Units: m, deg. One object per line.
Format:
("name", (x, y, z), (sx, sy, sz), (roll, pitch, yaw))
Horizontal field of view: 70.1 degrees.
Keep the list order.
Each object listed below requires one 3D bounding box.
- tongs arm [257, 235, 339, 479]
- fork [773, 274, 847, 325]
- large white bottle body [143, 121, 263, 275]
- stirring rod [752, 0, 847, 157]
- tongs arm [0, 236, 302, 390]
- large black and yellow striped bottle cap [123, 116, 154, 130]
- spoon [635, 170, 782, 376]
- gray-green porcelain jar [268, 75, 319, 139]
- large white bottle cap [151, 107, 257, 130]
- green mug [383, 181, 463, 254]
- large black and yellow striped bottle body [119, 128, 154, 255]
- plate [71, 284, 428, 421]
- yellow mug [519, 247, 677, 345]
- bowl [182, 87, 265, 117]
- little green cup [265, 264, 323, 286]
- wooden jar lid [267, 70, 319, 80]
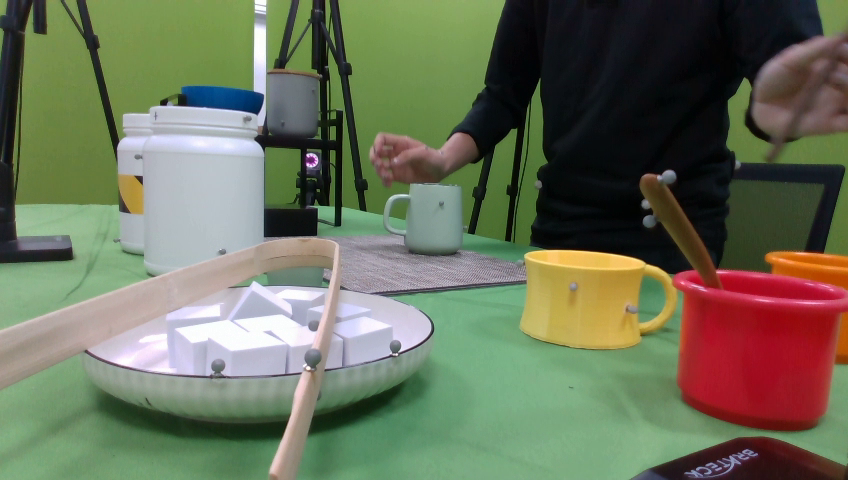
("tongs arm", (-0.074, 0.040, 0.345), (0.051, 0.026, 0.384), (-1, 9, -3))
("fork", (0.332, 0.018, 0.443), (0.028, 0.018, 0.207), (-1, -36, -14))
("large white bottle body", (-0.254, -0.054, 0.702), (0.131, 0.184, 0.130), (2, 8, 0))
("stirring rod", (0.314, -0.148, 0.490), (0.014, 0.176, 0.006), (22, 8, -42))
("tongs arm", (-0.157, 0.037, 0.347), (0.028, 0.028, 0.388), (-2, 8, 11))
("large black and yellow striped bottle cap", (-0.353, -0.159, 0.838), (0.115, 0.019, 0.115), (2, 6, 0))
("spoon", (0.161, 0.026, 0.346), (0.041, 0.021, 0.194), (9, -35, 53))
("gray-green porcelain jar", (-0.277, -0.279, 1.280), (0.106, 0.126, 0.106), (2, 8, 0))
("large white bottle cap", (-0.250, -0.138, 0.692), (0.115, 0.018, 0.115), (3, 7, 0))
("green mug", (-0.001, -0.036, 0.922), (0.126, 0.105, 0.092), (0, 8, -15))
("large black and yellow striped bottle body", (-0.355, -0.076, 0.850), (0.131, 0.184, 0.130), (2, 8, 0))
("plate", (-0.102, 0.067, 0.381), (0.208, 0.039, 0.207), (3, 7, 0))
("yellow mug", (0.148, 0.045, 0.513), (0.131, 0.064, 0.100), (3, 7, 0))
("bowl", (-0.383, -0.243, 1.158), (0.151, 0.077, 0.151), (2, 6, 0))
("little green cup", (-0.134, 0.033, 0.628), (0.061, 0.038, 0.061), (3, 7, 0))
("wooden jar lid", (-0.275, -0.339, 1.271), (0.108, 0.020, 0.108), (5, 6, 0))
